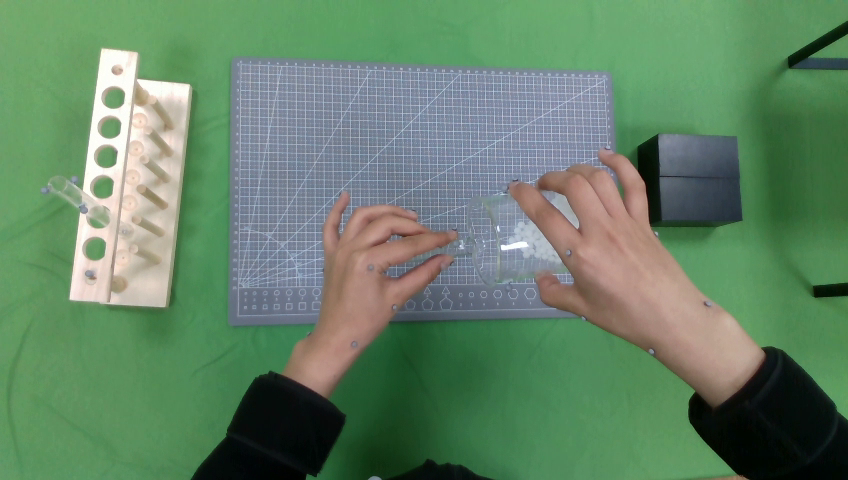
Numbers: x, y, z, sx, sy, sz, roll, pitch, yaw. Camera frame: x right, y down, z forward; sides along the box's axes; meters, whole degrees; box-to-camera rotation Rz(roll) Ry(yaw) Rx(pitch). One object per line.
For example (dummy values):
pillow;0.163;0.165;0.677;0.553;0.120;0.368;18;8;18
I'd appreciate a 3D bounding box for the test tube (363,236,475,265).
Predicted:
test tube;-0.010;0.011;0.570;0.017;0.150;0.017;7;80;-42

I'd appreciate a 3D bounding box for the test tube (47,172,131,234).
test tube;-0.302;-0.030;0.557;0.017;0.150;0.017;2;76;-6

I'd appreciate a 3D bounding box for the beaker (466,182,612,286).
beaker;0.091;-0.007;0.490;0.100;0.084;0.074;-8;86;-13

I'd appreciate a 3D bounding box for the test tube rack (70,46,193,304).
test tube rack;-0.290;-0.059;0.612;0.067;0.085;0.241;4;83;-7
